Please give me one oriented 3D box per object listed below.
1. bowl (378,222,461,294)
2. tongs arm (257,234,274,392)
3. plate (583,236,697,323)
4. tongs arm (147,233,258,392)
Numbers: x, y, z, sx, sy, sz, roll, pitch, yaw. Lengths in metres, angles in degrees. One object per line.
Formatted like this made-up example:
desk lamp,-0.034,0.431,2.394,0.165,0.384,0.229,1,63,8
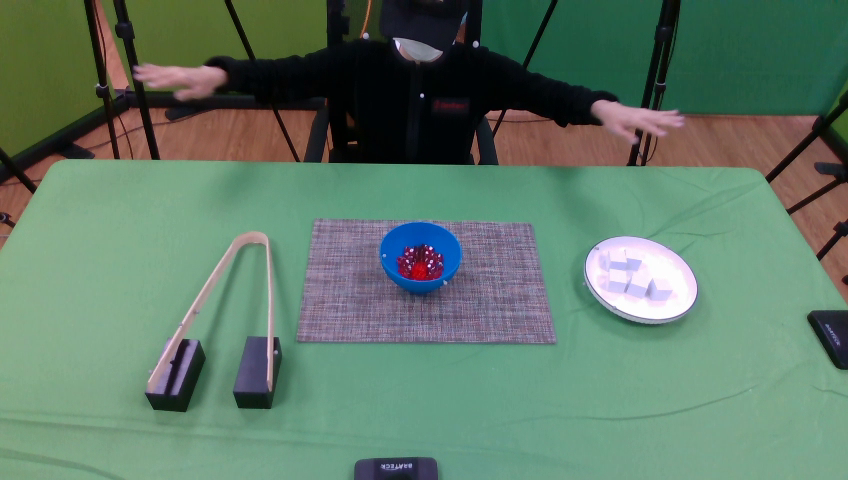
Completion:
bowl,-0.010,0.046,1.109,0.151,0.077,0.150,2,46,-2
tongs arm,-0.269,0.104,1.025,0.028,0.028,0.385,-9,36,-9
plate,0.403,0.077,1.144,0.209,0.038,0.208,2,45,-2
tongs arm,-0.358,0.103,1.018,0.051,0.026,0.382,3,34,2
